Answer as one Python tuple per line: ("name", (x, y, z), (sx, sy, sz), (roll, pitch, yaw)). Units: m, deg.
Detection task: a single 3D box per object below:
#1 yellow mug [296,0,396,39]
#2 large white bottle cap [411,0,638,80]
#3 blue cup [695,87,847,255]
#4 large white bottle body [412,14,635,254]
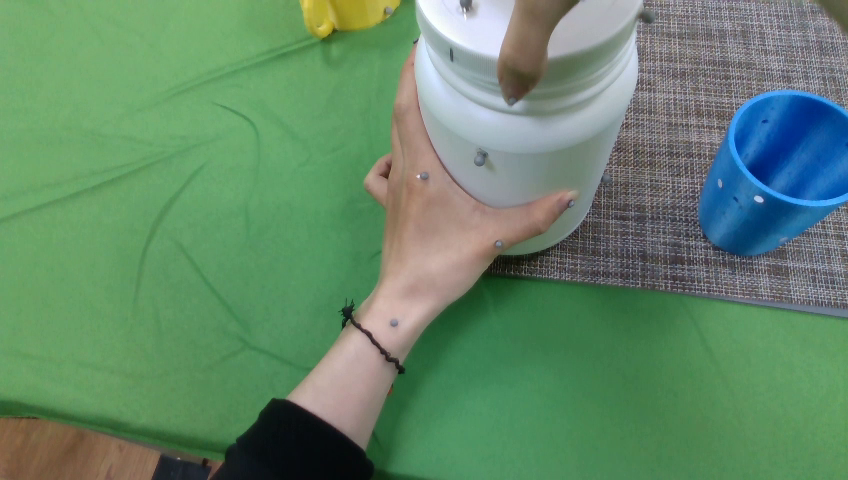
("yellow mug", (-0.081, -0.240, 0.550), (0.099, 0.064, 0.130), (18, 67, 11))
("large white bottle cap", (0.050, -0.130, 0.305), (0.115, 0.018, 0.114), (-2, 63, 3))
("blue cup", (0.230, -0.037, 0.411), (0.092, 0.101, 0.092), (-2, 64, 4))
("large white bottle body", (0.059, -0.085, 0.397), (0.130, 0.186, 0.129), (-1, 64, 2))
